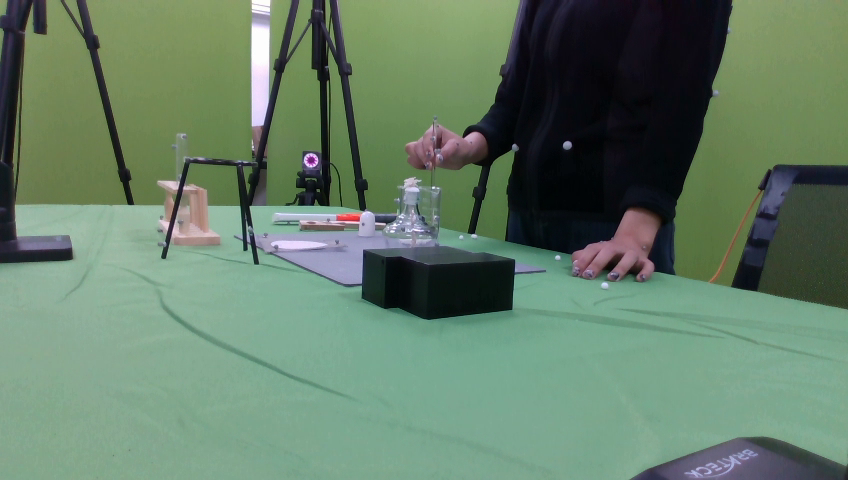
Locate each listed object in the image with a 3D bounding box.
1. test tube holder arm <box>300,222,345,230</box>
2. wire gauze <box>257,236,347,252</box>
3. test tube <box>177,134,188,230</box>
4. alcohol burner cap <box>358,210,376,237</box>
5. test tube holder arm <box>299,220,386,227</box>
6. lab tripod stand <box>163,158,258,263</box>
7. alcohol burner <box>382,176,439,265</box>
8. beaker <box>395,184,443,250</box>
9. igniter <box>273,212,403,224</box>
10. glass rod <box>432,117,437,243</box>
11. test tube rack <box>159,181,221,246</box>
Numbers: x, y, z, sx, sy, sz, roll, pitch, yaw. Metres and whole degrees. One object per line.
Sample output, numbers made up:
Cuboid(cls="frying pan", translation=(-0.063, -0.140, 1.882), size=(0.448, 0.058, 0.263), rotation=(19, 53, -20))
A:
Cuboid(cls="test tube holder arm", translation=(-0.196, -0.027, 1.170), size=(0.088, 0.015, 0.010), rotation=(-1, 43, -28))
Cuboid(cls="wire gauze", translation=(-0.189, 0.005, 0.931), size=(0.122, 0.011, 0.124), rotation=(1, 7, -21))
Cuboid(cls="test tube", translation=(-0.374, -0.089, 0.938), size=(0.017, 0.150, 0.017), rotation=(2, 4, 0))
Cuboid(cls="alcohol burner cap", translation=(-0.104, -0.030, 1.098), size=(0.034, 0.048, 0.034), rotation=(2, 7, 0))
Cuboid(cls="test tube holder arm", translation=(-0.158, -0.032, 1.195), size=(0.179, 0.015, 0.013), rotation=(-2, 43, -29))
Cuboid(cls="lab tripod stand", translation=(-0.265, -0.041, 0.802), size=(0.148, 0.131, 0.148), rotation=(4, 7, 0))
Cuboid(cls="alcohol burner", translation=(-0.018, -0.026, 0.818), size=(0.078, 0.119, 0.078), rotation=(3, 9, 0))
Cuboid(cls="beaker", translation=(-0.007, -0.037, 0.965), size=(0.074, 0.100, 0.083), rotation=(-4, 10, -40))
Cuboid(cls="igniter", translation=(-0.179, -0.048, 1.290), size=(0.278, 0.025, 0.057), rotation=(-1, -2, -24))
Cuboid(cls="glass rod", translation=(0.016, -0.094, 0.964), size=(0.008, 0.199, 0.008), rotation=(1, 6, 0))
Cuboid(cls="test tube rack", translation=(-0.395, -0.050, 1.010), size=(0.067, 0.085, 0.241), rotation=(-2, 8, -28))
